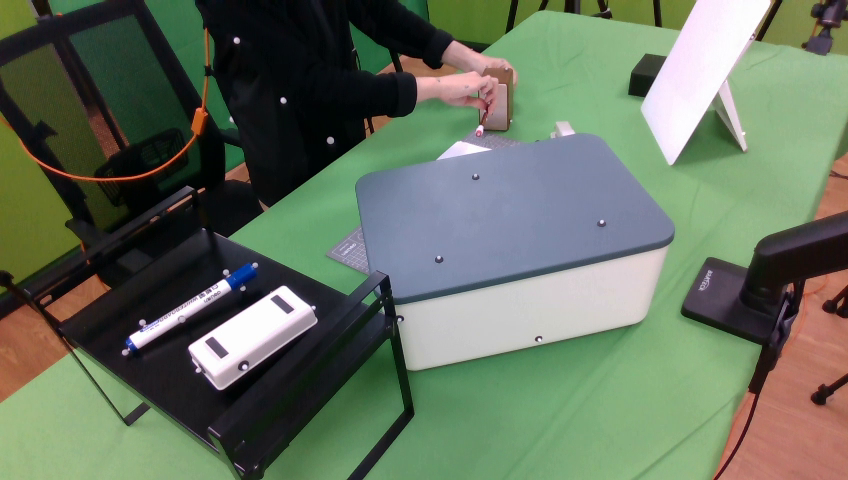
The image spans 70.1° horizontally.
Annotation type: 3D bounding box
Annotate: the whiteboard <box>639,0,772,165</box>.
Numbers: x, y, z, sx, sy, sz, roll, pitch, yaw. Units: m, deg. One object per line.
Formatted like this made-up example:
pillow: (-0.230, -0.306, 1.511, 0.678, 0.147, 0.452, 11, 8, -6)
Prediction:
whiteboard: (0.543, -0.298, 1.076, 0.144, 0.305, 0.216, 12, 40, -7)

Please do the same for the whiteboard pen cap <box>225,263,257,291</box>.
whiteboard pen cap: (-0.204, 0.041, 0.668, 0.033, 0.018, 0.018, -36, 48, -22)

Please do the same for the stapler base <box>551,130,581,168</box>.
stapler base: (0.268, -0.178, 1.142, 0.041, 0.024, 0.130, 0, 37, 3)

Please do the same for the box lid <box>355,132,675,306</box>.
box lid: (0.103, -0.042, 0.785, 0.372, 0.015, 0.261, -12, 41, -5)

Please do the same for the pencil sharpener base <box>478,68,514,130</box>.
pencil sharpener base: (0.148, -0.287, 1.225, 0.061, 0.107, 0.076, 5, 41, 15)

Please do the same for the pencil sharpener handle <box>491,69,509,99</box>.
pencil sharpener handle: (0.162, -0.329, 1.253, 0.036, 0.068, 0.030, -1, 40, 19)

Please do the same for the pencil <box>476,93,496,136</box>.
pencil: (0.118, -0.239, 1.123, 0.012, 0.012, 0.194, 6, 37, 14)

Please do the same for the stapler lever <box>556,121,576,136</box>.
stapler lever: (0.266, -0.198, 1.128, 0.027, 0.040, 0.117, 0, 38, 3)

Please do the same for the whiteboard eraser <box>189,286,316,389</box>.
whiteboard eraser: (-0.166, 0.096, 0.593, 0.113, 0.042, 0.055, -36, 47, -29)

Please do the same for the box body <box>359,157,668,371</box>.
box body: (0.108, 0.014, 0.833, 0.365, 0.161, 0.252, -11, 41, -5)

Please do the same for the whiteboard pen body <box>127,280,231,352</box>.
whiteboard pen body: (-0.248, 0.072, 0.645, 0.141, 0.017, 0.017, -35, 47, -23)
